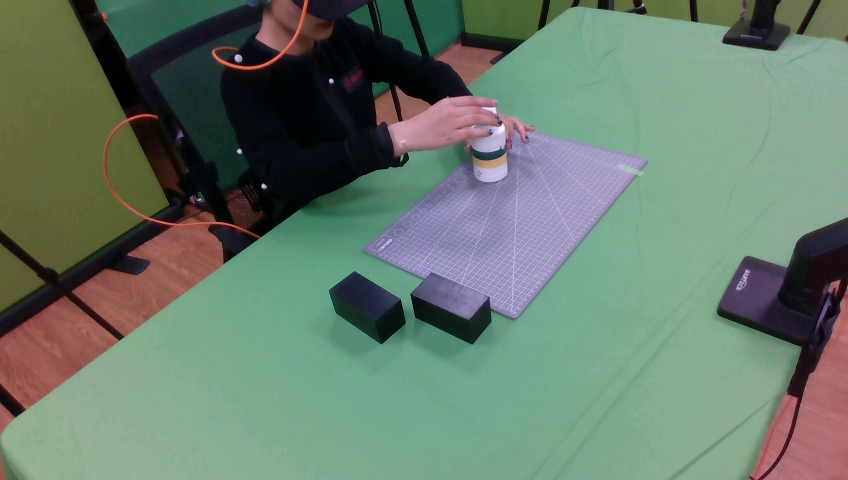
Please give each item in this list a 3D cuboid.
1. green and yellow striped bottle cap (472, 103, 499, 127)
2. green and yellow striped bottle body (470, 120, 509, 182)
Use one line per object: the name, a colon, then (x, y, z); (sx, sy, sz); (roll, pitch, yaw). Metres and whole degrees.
green and yellow striped bottle cap: (0.104, -0.213, 1.026); (0.045, 0.020, 0.045); (-10, 42, 10)
green and yellow striped bottle body: (0.117, -0.169, 1.079); (0.063, 0.120, 0.063); (-6, 40, 5)
